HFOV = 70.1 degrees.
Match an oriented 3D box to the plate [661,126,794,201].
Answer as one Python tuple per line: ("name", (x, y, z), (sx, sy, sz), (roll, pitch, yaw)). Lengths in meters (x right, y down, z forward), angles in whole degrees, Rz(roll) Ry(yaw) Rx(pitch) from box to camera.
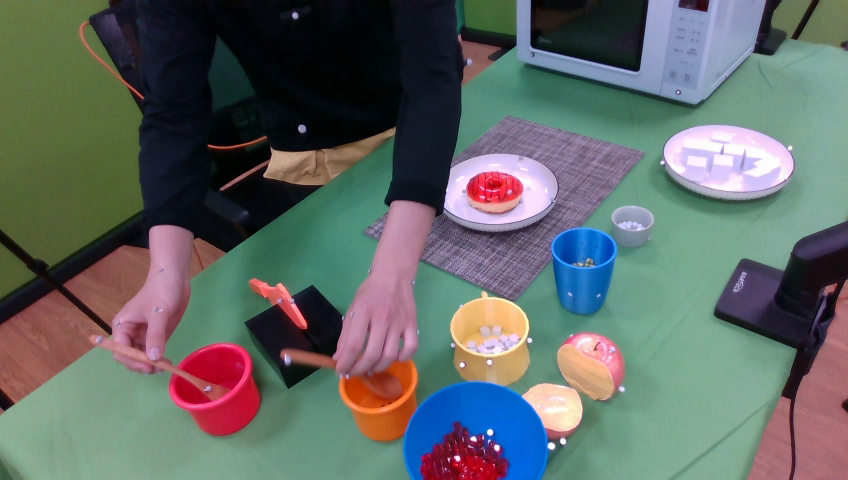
("plate", (0.513, -0.127, 1.035), (0.207, 0.039, 0.206), (-4, 40, 4))

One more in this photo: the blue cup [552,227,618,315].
("blue cup", (0.218, 0.047, 0.825), (0.092, 0.101, 0.092), (-6, 39, 5))

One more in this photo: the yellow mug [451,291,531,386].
("yellow mug", (0.085, 0.119, 0.786), (0.100, 0.064, 0.130), (-6, 39, 1))

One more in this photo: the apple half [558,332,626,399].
("apple half", (0.209, 0.147, 0.731), (0.080, 0.075, 0.053), (26, 46, 38))

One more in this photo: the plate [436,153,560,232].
("plate", (0.125, -0.078, 1.029), (0.209, 0.038, 0.208), (-4, 40, 4))

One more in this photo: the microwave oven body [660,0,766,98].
("microwave oven body", (0.473, -0.513, 1.317), (0.438, 0.261, 0.327), (26, 51, 34))

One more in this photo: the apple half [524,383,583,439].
("apple half", (0.150, 0.204, 0.704), (0.081, 0.033, 0.081), (-10, 25, 6))

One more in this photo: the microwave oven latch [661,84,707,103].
("microwave oven latch", (0.516, -0.296, 1.204), (0.078, 0.029, 0.030), (25, 51, 33))

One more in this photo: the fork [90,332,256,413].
("fork", (-0.294, 0.159, 0.721), (0.018, 0.209, 0.028), (-33, 32, 36))

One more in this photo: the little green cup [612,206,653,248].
("little green cup", (0.321, -0.019, 0.936), (0.061, 0.039, 0.061), (-4, 40, 4))

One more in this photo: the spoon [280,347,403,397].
("spoon", (-0.087, 0.143, 0.673), (0.021, 0.195, 0.041), (-42, 49, 9))

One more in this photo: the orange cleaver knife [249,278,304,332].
("orange cleaver knife", (-0.210, 0.089, 0.855), (0.012, 0.077, 0.210), (-27, 14, -25))

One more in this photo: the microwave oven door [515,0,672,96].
("microwave oven door", (0.344, -0.455, 1.259), (0.353, 0.245, 0.039), (26, 51, 33))

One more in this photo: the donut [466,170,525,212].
("donut", (0.120, -0.083, 1.019), (0.099, 0.048, 0.098), (-3, 38, 3))

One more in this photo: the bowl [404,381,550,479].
("bowl", (0.058, 0.235, 0.645), (0.151, 0.077, 0.150), (-4, 39, 4))
